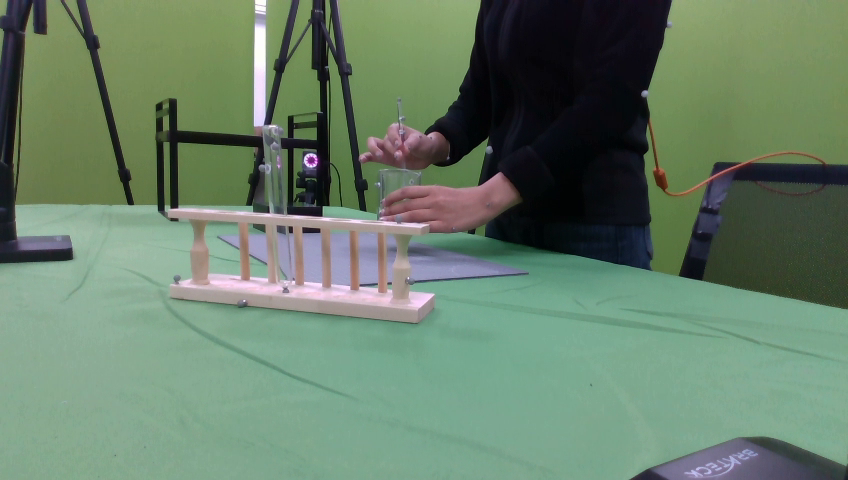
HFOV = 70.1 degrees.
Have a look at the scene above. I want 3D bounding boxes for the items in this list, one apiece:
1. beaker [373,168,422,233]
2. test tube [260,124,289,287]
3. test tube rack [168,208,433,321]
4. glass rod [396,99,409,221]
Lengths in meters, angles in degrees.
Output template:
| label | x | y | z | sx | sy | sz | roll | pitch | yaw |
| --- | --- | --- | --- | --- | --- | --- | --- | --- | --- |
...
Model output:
| label | x | y | z | sx | sy | sz | roll | pitch | yaw |
| --- | --- | --- | --- | --- | --- | --- | --- | --- | --- |
| beaker | -0.038 | -0.061 | 0.949 | 0.083 | 0.100 | 0.074 | 2 | 2 | 42 |
| test tube | -0.138 | -0.031 | 0.556 | 0.017 | 0.150 | 0.017 | -3 | 6 | 1 |
| test tube rack | -0.115 | 0.017 | 0.574 | 0.242 | 0.085 | 0.067 | 4 | 8 | 13 |
| glass rod | -0.034 | -0.125 | 0.949 | 0.008 | 0.199 | 0.008 | -4 | -7 | 0 |
